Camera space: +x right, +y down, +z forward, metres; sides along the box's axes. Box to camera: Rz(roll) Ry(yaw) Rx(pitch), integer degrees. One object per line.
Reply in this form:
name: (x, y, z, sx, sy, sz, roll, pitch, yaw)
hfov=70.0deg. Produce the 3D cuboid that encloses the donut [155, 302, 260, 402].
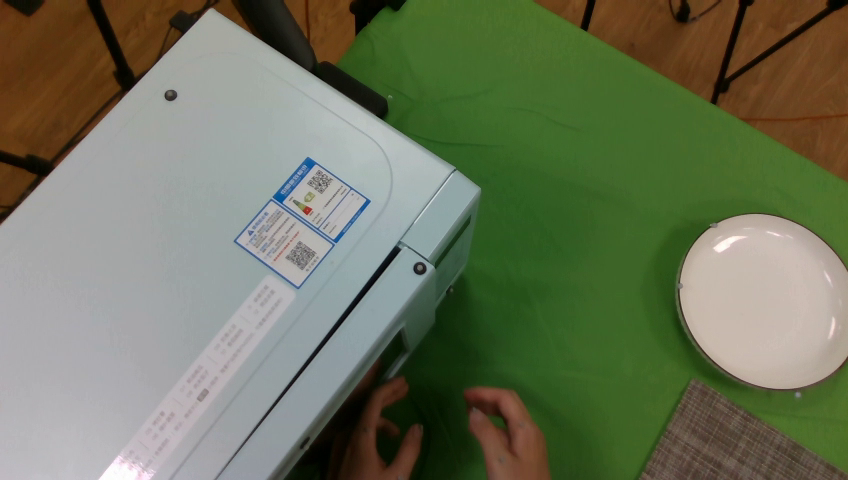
donut: (-0.211, 0.110, 0.595, 0.099, 0.048, 0.098, 4, 72, -11)

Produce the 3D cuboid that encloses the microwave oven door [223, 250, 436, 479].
microwave oven door: (-0.109, 0.180, 0.548, 0.039, 0.245, 0.355, 36, 76, 11)

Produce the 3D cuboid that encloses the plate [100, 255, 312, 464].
plate: (-0.217, 0.119, 0.622, 0.209, 0.038, 0.208, 1, 76, -3)

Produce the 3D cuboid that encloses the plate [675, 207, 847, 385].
plate: (0.394, 0.065, 0.706, 0.208, 0.039, 0.206, 0, 73, 0)

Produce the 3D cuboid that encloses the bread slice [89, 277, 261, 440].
bread slice: (-0.224, 0.100, 0.571, 0.107, 0.018, 0.134, 45, 70, 2)

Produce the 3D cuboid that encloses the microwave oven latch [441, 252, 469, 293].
microwave oven latch: (0.020, 0.039, 0.696, 0.030, 0.029, 0.079, 37, 77, 10)

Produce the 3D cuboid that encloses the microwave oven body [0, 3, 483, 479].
microwave oven body: (-0.205, 0.065, 0.589, 0.325, 0.261, 0.441, 35, 77, 10)

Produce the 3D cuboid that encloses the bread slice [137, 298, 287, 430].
bread slice: (-0.226, 0.133, 0.636, 0.131, 0.019, 0.104, -33, 78, -31)
